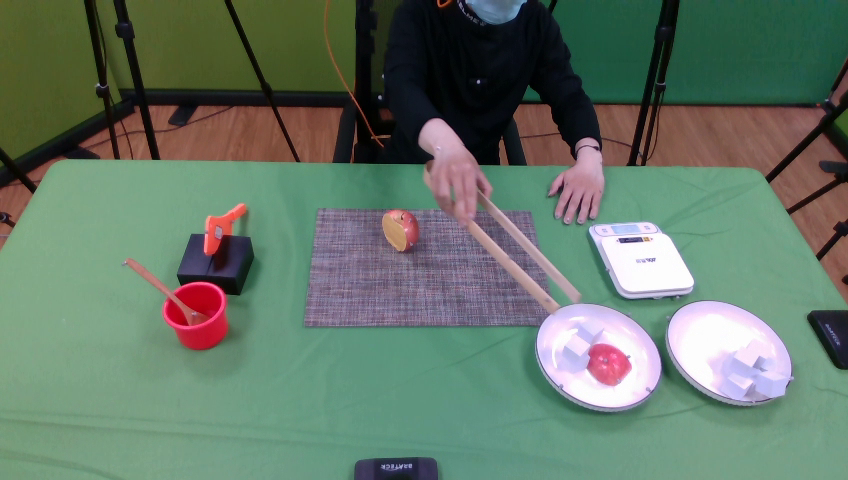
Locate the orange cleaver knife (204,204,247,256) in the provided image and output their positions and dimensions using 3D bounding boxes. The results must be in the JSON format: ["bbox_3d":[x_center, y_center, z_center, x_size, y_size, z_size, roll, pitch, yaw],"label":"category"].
[{"bbox_3d":[-0.374,-0.024,1.146,0.012,0.077,0.211,4,14,1],"label":"orange cleaver knife"}]

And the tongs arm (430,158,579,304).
[{"bbox_3d":[0.132,-0.027,1.057,0.028,0.028,0.385,-26,56,-24],"label":"tongs arm"}]

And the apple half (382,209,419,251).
[{"bbox_3d":[-0.039,-0.022,1.175,0.053,0.075,0.080,-26,50,-31],"label":"apple half"}]

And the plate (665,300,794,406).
[{"bbox_3d":[0.513,0.194,1.034,0.208,0.039,0.206,2,46,-2],"label":"plate"}]

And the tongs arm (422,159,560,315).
[{"bbox_3d":[0.108,-0.017,1.044,0.051,0.026,0.382,-27,56,-29],"label":"tongs arm"}]

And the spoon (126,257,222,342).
[{"bbox_3d":[-0.408,0.096,0.990,0.194,0.021,0.041,50,53,-18],"label":"spoon"}]

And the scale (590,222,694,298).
[{"bbox_3d":[0.424,0.031,1.189,0.149,0.032,0.199,-3,46,-7],"label":"scale"}]

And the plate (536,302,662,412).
[{"bbox_3d":[0.288,0.196,1.016,0.209,0.038,0.208,2,46,-2],"label":"plate"}]

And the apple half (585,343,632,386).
[{"bbox_3d":[0.309,0.198,1.008,0.081,0.033,0.081,4,48,-4],"label":"apple half"}]
